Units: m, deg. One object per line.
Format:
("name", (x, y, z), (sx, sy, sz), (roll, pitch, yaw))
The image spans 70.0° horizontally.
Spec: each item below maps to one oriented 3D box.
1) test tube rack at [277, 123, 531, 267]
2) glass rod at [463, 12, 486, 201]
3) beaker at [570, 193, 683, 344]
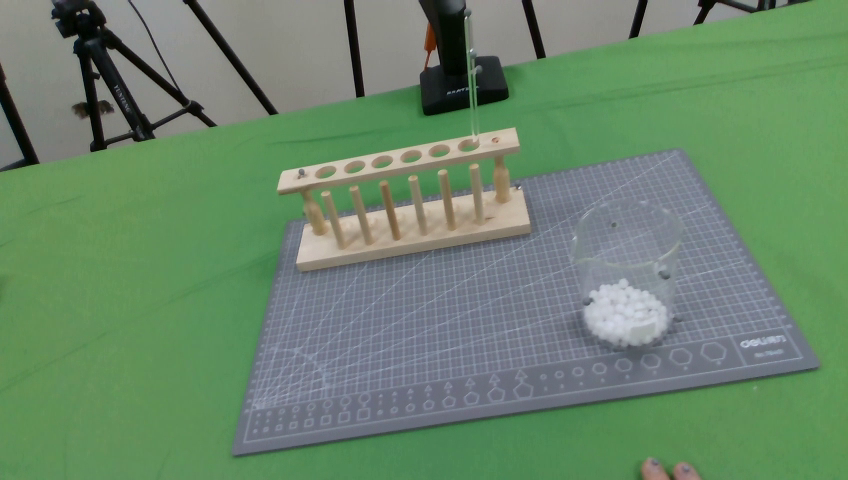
("test tube rack", (-0.020, -0.044, 0.615), (0.242, 0.086, 0.066), (-10, 41, 7))
("glass rod", (0.049, -0.116, 0.572), (0.008, 0.202, 0.008), (-6, 42, 5))
("beaker", (0.155, 0.026, 0.469), (0.084, 0.101, 0.073), (-22, 40, -7))
